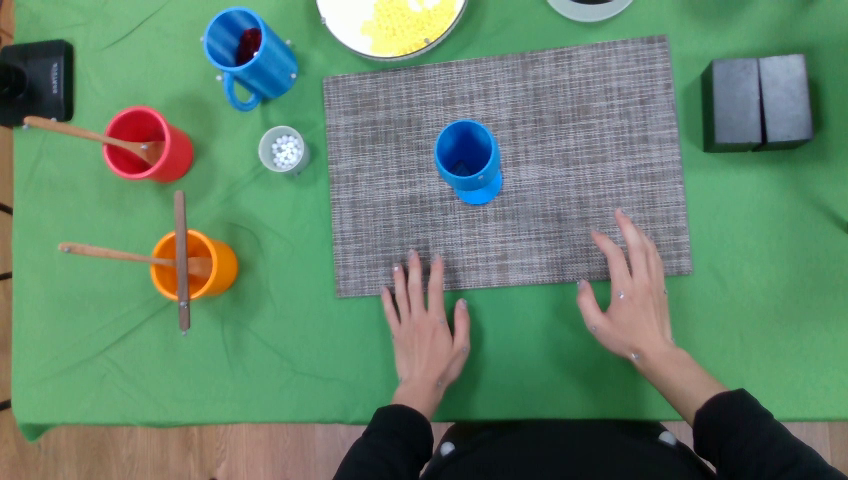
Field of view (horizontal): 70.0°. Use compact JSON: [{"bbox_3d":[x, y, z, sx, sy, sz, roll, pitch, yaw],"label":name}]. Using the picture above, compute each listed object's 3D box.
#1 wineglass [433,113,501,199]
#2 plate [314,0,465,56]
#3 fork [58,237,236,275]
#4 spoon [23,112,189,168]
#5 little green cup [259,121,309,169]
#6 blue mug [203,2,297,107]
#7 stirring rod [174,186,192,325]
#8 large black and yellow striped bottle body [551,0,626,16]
[{"bbox_3d":[0.054,-0.092,0.698,0.073,0.173,0.073,-1,85,9],"label":"wineglass"},{"bbox_3d":[-0.042,-0.342,0.801,0.209,0.038,0.208,0,87,8],"label":"plate"},{"bbox_3d":[-0.344,0.019,0.769,0.209,0.018,0.028,11,94,-34],"label":"fork"},{"bbox_3d":[-0.409,-0.135,0.791,0.195,0.021,0.041,14,89,-34],"label":"spoon"},{"bbox_3d":[-0.185,-0.124,0.809,0.061,0.039,0.061,-1,87,9],"label":"little green cup"},{"bbox_3d":[-0.227,-0.231,0.789,0.082,0.106,0.116,16,89,10],"label":"blue mug"},{"bbox_3d":[-0.303,0.019,0.759,0.014,0.006,0.175,-5,86,9],"label":"stirring rod"},{"bbox_3d":[0.199,-0.356,0.691,0.130,0.184,0.130,-1,86,9],"label":"large black and yellow striped bottle body"}]
